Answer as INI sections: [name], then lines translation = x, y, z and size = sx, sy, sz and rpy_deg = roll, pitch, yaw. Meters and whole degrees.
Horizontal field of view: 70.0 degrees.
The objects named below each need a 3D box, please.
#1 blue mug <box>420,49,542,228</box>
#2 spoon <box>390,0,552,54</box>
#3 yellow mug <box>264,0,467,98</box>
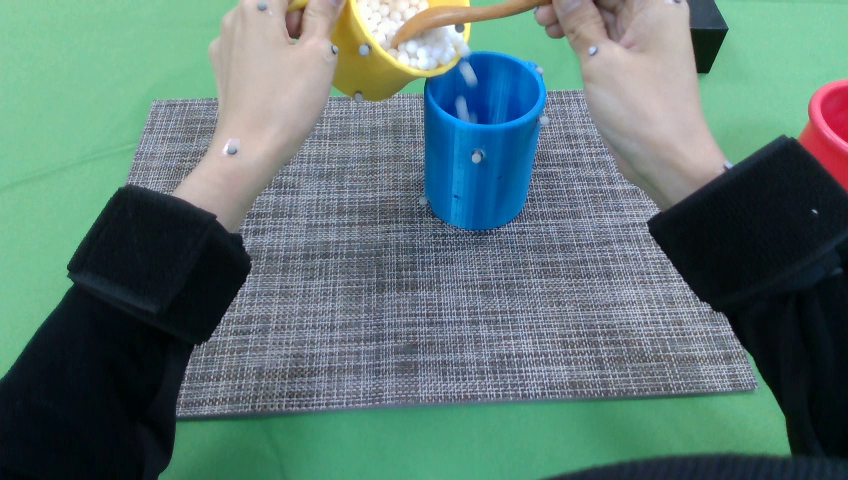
[blue mug]
translation = 0.049, -0.082, 0.455
size = 0.081, 0.107, 0.116
rpy_deg = 35, 60, 23
[spoon]
translation = 0.045, -0.134, 0.343
size = 0.192, 0.022, 0.041
rpy_deg = 4, 33, 47
[yellow mug]
translation = -0.040, -0.149, 0.394
size = 0.131, 0.063, 0.100
rpy_deg = -16, 96, -38
